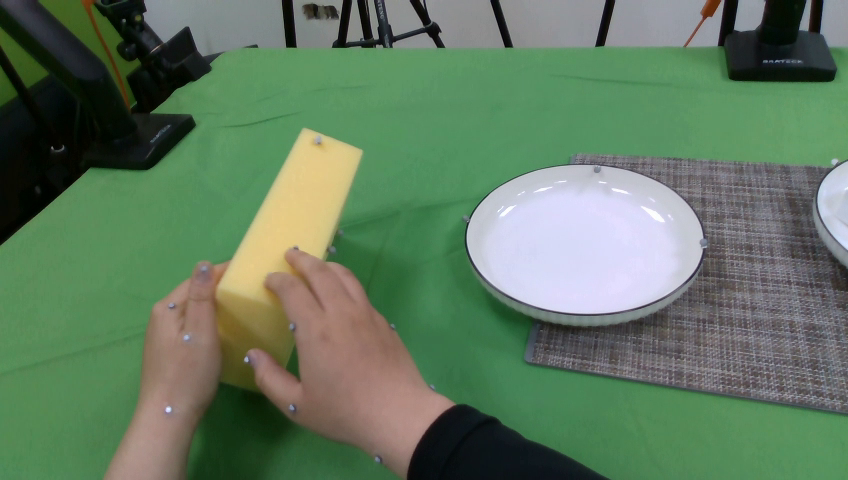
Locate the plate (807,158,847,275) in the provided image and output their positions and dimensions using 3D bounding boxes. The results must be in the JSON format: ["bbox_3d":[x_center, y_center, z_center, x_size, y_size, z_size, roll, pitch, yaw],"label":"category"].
[{"bbox_3d":[0.435,-0.004,0.504,0.207,0.039,0.205,-6,41,5],"label":"plate"}]

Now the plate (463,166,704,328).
[{"bbox_3d":[0.141,0.006,0.554,0.209,0.038,0.207,-6,41,5],"label":"plate"}]

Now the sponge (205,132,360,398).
[{"bbox_3d":[-0.120,0.015,0.532,0.061,0.119,0.205,19,44,-7],"label":"sponge"}]
